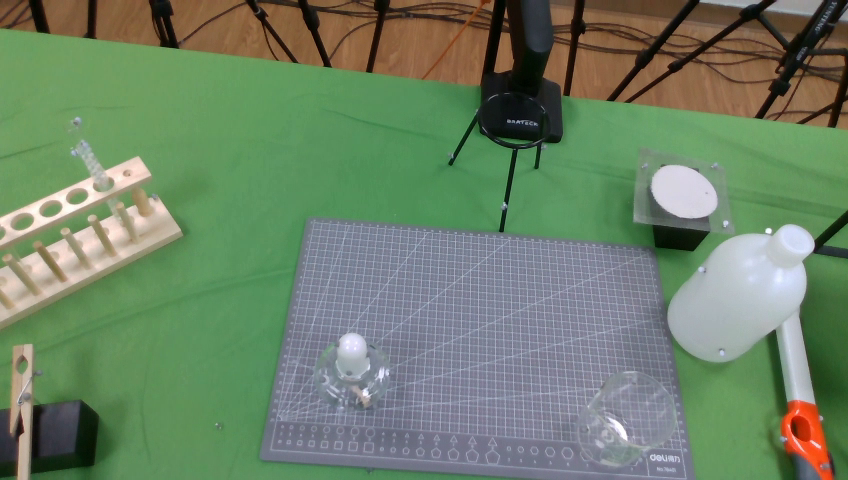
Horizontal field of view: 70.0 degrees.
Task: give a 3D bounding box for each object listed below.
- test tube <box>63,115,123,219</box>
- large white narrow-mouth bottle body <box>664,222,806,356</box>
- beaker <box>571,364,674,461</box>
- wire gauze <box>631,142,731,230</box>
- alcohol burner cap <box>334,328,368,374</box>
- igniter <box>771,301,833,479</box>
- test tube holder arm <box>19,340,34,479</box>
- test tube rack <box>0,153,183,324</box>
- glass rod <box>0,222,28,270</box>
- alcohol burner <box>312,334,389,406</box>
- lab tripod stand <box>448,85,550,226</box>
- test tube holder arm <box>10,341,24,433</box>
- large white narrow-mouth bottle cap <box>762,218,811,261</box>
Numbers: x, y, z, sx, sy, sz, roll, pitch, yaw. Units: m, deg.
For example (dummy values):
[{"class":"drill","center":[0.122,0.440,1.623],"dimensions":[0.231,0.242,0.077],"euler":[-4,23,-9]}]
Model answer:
[{"class":"test tube","center":[-0.356,-0.074,0.663],"dimensions":[0.017,0.151,0.017],"euler":[1,52,-1]},{"class":"large white narrow-mouth bottle body","center":[0.342,0.046,0.656],"dimensions":[0.102,0.196,0.101],"euler":[2,57,-3]},{"class":"beaker","center":[0.192,0.178,0.611],"dimensions":[0.084,0.101,0.073],"euler":[2,57,-3]},{"class":"wire gauze","center":[0.328,-0.069,0.779],"dimensions":[0.121,0.011,0.124],"euler":[12,57,2]},{"class":"alcohol burner cap","center":[-0.071,0.104,0.579],"dimensions":[0.034,0.048,0.033],"euler":[2,52,-2]},{"class":"igniter","center":[0.418,0.186,0.675],"dimensions":[0.057,0.025,0.274],"euler":[17,57,-7]},{"class":"test tube holder arm","center":[-0.363,0.173,0.551],"dimensions":[0.013,0.015,0.176],"euler":[-9,60,-21]},{"class":"test tube rack","center":[-0.406,0.003,0.670],"dimensions":[0.242,0.086,0.066],"euler":[-31,66,-23]},{"class":"glass rod","center":[-0.439,-0.031,0.609],"dimensions":[0.008,0.201,0.008],"euler":[5,48,-5]},{"class":"alcohol burner","center":[-0.073,0.123,0.610],"dimensions":[0.078,0.120,0.077],"euler":[4,57,-6]},{"class":"lab tripod stand","center":[0.102,-0.113,0.768],"dimensions":[0.148,0.132,0.147],"euler":[3,59,-5]},{"class":"test tube holder arm","center":[-0.382,0.137,0.570],"dimensions":[0.010,0.015,0.087],"euler":[-9,59,-21]},{"class":"large white narrow-mouth bottle cap","center":[0.349,-0.001,0.585],"dimensions":[0.038,0.024,0.037],"euler":[2,57,-3]}]
